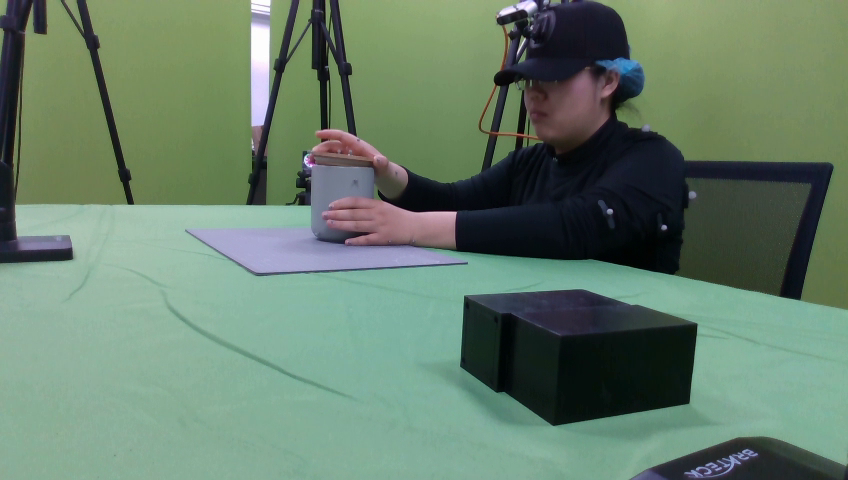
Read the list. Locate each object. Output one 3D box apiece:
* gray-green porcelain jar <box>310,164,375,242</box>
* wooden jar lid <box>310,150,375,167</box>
[{"bbox_3d":[-0.139,-0.063,1.025,0.106,0.126,0.106,3,8,0],"label":"gray-green porcelain jar"},{"bbox_3d":[-0.136,-0.135,1.015,0.108,0.020,0.108,6,8,0],"label":"wooden jar lid"}]
